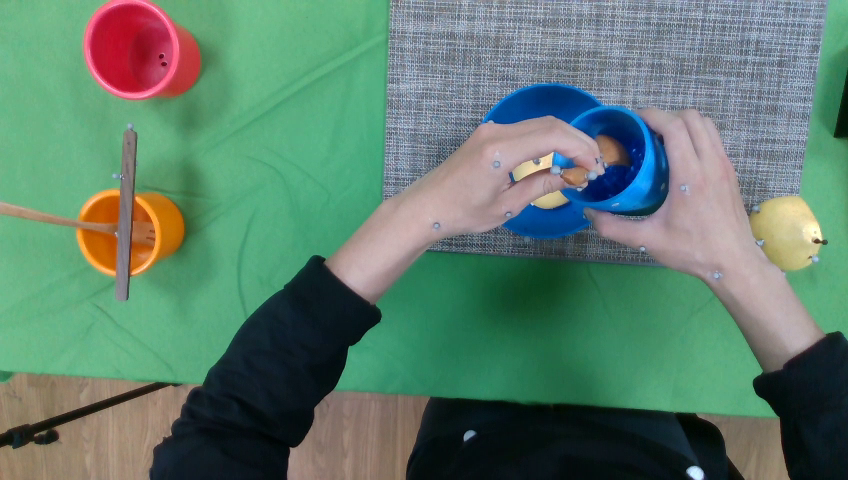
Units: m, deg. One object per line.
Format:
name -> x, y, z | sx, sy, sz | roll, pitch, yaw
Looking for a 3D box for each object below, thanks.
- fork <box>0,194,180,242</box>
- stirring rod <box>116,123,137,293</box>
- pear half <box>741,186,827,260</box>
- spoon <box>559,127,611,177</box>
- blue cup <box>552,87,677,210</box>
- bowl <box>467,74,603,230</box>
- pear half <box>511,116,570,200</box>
fork -> -0.356, -0.026, 0.622 | 0.209, 0.018, 0.028 | 13, 113, -44
stirring rod -> -0.304, -0.031, 0.617 | 0.014, 0.006, 0.176 | 8, 101, -1
pear half -> 0.359, -0.013, 0.608 | 0.056, 0.109, 0.076 | -15, 94, 6
spoon -> 0.128, -0.064, 0.459 | 0.041, 0.194, 0.022 | 44, 120, 9
blue cup -> 0.173, -0.066, 0.526 | 0.092, 0.101, 0.092 | -10, 74, 38
bowl -> 0.119, -0.089, 0.621 | 0.151, 0.076, 0.152 | 0, 100, 3
pear half -> 0.125, -0.085, 0.615 | 0.070, 0.031, 0.088 | -17, 93, 1
